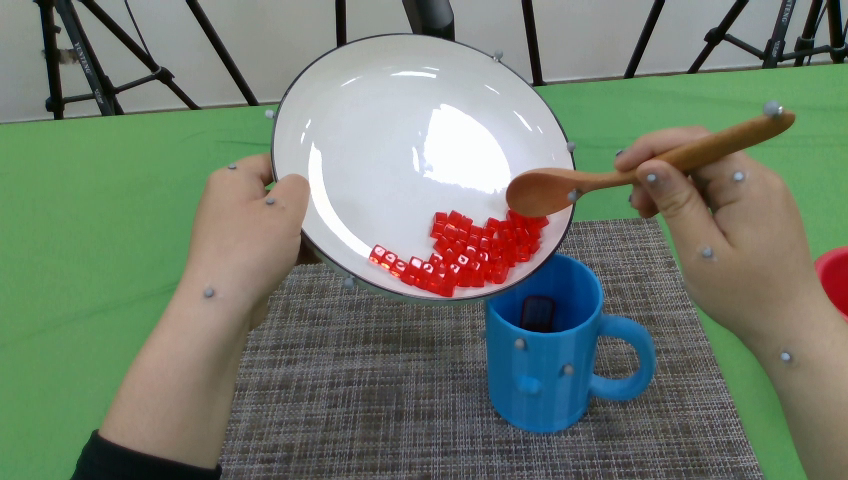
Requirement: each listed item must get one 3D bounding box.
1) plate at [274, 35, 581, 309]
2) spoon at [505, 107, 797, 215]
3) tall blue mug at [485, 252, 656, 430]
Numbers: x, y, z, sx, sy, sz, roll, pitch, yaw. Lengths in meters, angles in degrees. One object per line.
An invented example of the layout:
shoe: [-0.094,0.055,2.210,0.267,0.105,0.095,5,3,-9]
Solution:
plate: [0.004,-0.048,0.416,0.208,0.039,0.206,5,64,-11]
spoon: [0.108,-0.037,0.333,0.193,0.042,0.021,-9,51,63]
tall blue mug: [0.098,0.070,0.426,0.107,0.109,0.077,-8,41,-1]
